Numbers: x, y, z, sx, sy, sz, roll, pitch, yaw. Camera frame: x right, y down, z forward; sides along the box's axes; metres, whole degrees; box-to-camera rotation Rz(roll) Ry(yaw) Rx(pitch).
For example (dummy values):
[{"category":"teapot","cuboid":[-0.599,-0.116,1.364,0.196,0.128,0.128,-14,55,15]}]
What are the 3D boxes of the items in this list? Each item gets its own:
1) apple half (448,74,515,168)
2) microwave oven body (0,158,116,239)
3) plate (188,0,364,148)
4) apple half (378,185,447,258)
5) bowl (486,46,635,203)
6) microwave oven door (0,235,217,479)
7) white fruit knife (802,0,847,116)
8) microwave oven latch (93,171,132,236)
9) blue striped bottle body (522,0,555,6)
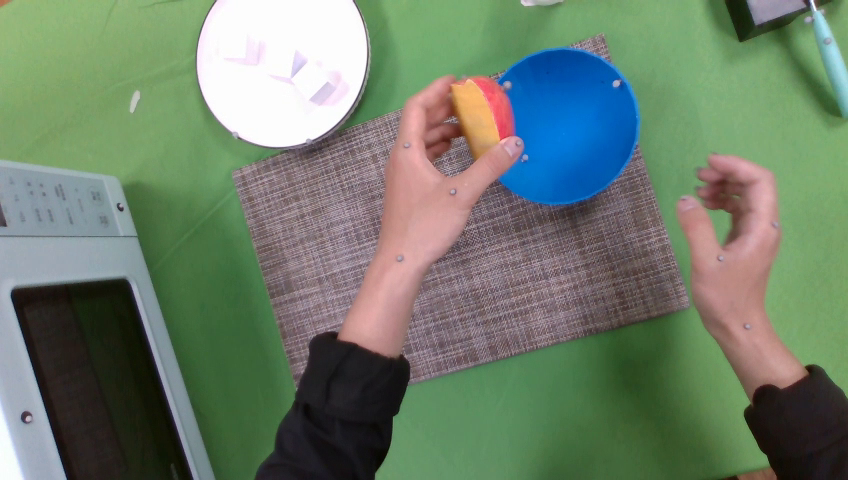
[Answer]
[{"category":"apple half","cuboid":[0.052,-0.095,0.469,0.033,0.081,0.081,-27,86,-9]},{"category":"microwave oven body","cuboid":[-0.477,0.175,0.647,0.326,0.260,0.441,-20,88,10]},{"category":"plate","cuboid":[-0.166,-0.207,0.695,0.207,0.039,0.207,0,92,11]},{"category":"apple half","cuboid":[-0.019,-0.013,0.649,0.053,0.074,0.080,-38,88,14]},{"category":"bowl","cuboid":[0.131,-0.110,0.615,0.151,0.077,0.151,0,91,11]},{"category":"microwave oven door","cuboid":[-0.329,0.167,0.614,0.039,0.244,0.355,-20,87,11]},{"category":"white fruit knife","cuboid":[0.362,-0.208,0.567,0.016,0.027,0.208,-24,104,28]},{"category":"microwave oven latch","cuboid":[-0.378,-0.041,0.721,0.030,0.029,0.079,-19,88,10]},{"category":"blue striped bottle body","cuboid":[0.114,-0.283,0.596,0.063,0.121,0.063,0,91,11]}]
